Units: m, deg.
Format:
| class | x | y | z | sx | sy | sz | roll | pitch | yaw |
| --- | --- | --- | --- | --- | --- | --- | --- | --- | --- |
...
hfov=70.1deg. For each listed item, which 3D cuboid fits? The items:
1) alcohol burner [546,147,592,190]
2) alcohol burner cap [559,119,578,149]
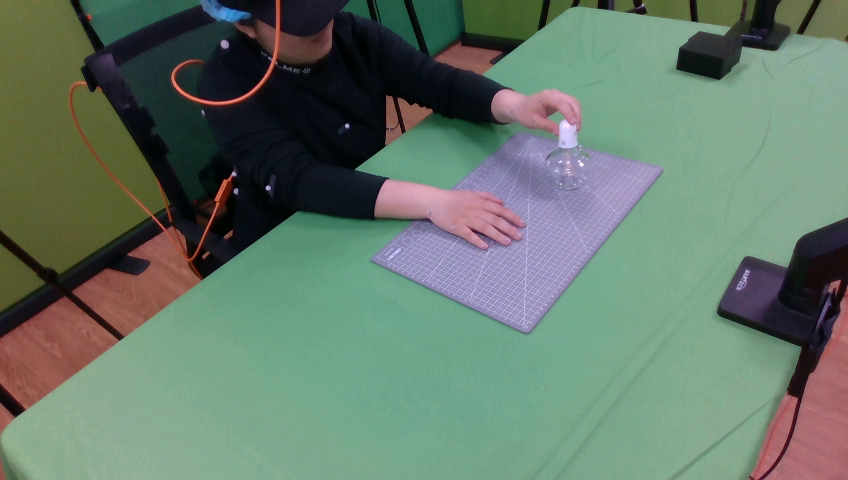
| class | x | y | z | sx | sy | sz | roll | pitch | yaw |
| --- | --- | --- | --- | --- | --- | --- | --- | --- | --- |
| alcohol burner | 0.247 | -0.146 | 1.035 | 0.078 | 0.120 | 0.077 | -7 | 41 | 6 |
| alcohol burner cap | 0.240 | -0.178 | 1.008 | 0.034 | 0.048 | 0.033 | -8 | 34 | 6 |
